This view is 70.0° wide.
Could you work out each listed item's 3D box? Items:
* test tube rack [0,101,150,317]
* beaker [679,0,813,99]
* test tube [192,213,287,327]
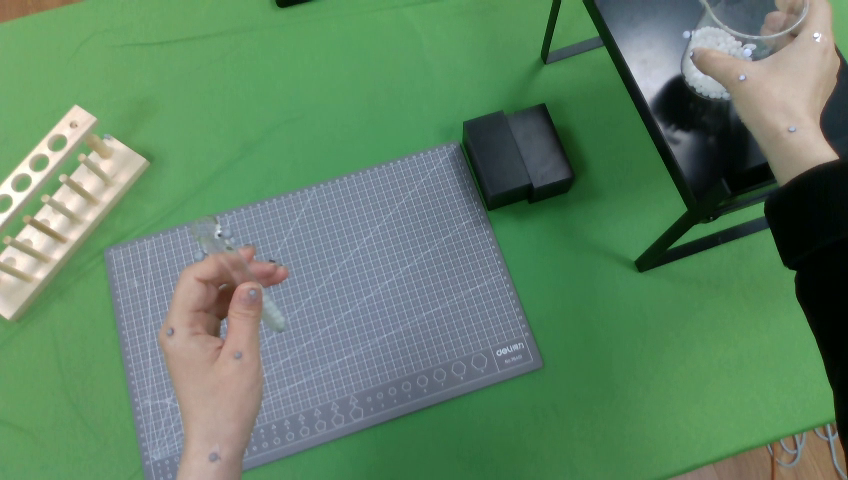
[{"bbox_3d":[-0.440,-0.035,0.703,0.066,0.085,0.242,33,77,11],"label":"test tube rack"},{"bbox_3d":[0.258,-0.172,0.505,0.083,0.101,0.073,15,75,13],"label":"beaker"},{"bbox_3d":[-0.117,0.026,0.400,0.017,0.151,0.017,-2,61,3],"label":"test tube"}]
